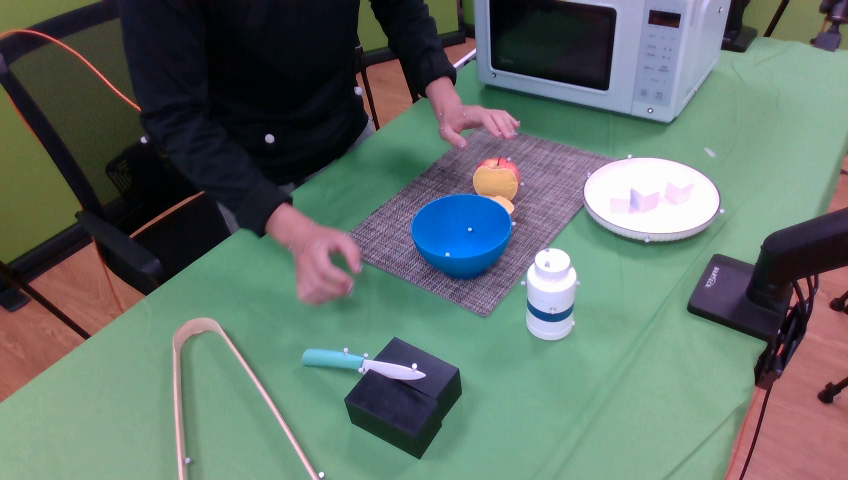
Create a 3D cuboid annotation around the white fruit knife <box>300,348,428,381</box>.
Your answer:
[{"bbox_3d":[-0.079,0.154,0.748,0.206,0.027,0.016,0,20,34],"label":"white fruit knife"}]

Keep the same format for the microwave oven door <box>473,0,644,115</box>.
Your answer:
[{"bbox_3d":[0.257,-0.396,1.199,0.353,0.245,0.039,21,48,29],"label":"microwave oven door"}]

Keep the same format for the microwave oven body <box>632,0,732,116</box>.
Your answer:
[{"bbox_3d":[0.377,-0.462,1.267,0.438,0.261,0.327,21,48,30],"label":"microwave oven body"}]

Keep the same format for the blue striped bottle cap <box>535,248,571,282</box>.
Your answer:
[{"bbox_3d":[0.161,0.031,0.753,0.044,0.021,0.044,-4,42,4],"label":"blue striped bottle cap"}]

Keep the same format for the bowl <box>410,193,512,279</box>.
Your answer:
[{"bbox_3d":[0.058,0.005,0.905,0.151,0.077,0.150,-4,40,4],"label":"bowl"}]

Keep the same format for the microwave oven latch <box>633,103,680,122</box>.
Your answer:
[{"bbox_3d":[0.444,-0.249,1.157,0.078,0.029,0.030,21,49,30],"label":"microwave oven latch"}]

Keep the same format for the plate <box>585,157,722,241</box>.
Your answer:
[{"bbox_3d":[0.367,-0.063,0.979,0.207,0.039,0.206,-4,40,4],"label":"plate"}]

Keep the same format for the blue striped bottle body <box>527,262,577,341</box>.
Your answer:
[{"bbox_3d":[0.165,0.070,0.786,0.063,0.121,0.063,-4,41,4],"label":"blue striped bottle body"}]

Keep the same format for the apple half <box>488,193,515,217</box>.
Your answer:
[{"bbox_3d":[0.114,-0.042,0.984,0.081,0.033,0.081,-16,33,12],"label":"apple half"}]

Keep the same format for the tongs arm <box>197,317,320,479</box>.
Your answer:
[{"bbox_3d":[-0.199,0.206,0.750,0.028,0.028,0.384,-31,45,-22],"label":"tongs arm"}]

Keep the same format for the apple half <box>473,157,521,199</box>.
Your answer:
[{"bbox_3d":[0.127,-0.106,1.030,0.080,0.075,0.053,5,37,19],"label":"apple half"}]

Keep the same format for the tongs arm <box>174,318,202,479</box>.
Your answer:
[{"bbox_3d":[-0.272,0.234,0.723,0.051,0.026,0.381,-19,40,-14],"label":"tongs arm"}]
